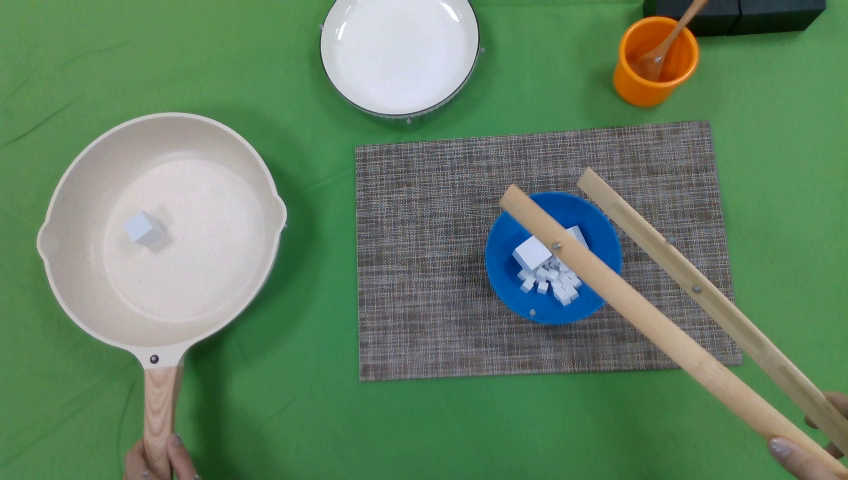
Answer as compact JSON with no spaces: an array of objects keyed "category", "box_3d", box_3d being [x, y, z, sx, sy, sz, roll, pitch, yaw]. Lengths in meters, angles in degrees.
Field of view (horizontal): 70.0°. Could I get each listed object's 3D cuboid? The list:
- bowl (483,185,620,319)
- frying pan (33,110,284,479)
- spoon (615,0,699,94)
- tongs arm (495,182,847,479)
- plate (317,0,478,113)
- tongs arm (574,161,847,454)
[{"category":"bowl","box_3d":[0.142,0.019,0.703,0.151,0.077,0.150,-1,79,4]},{"category":"frying pan","box_3d":[-0.307,0.084,0.715,0.307,0.103,0.484,-6,71,4]},{"category":"spoon","box_3d":[0.295,-0.254,0.711,0.041,0.194,0.021,46,41,14]},{"category":"tongs arm","box_3d":[0.207,0.079,0.501,0.385,0.028,0.028,42,125,17]},{"category":"plate","box_3d":[-0.033,-0.261,0.793,0.207,0.039,0.206,-1,80,4]},{"category":"tongs arm","box_3d":[0.260,0.061,0.553,0.381,0.051,0.026,51,131,25]}]
